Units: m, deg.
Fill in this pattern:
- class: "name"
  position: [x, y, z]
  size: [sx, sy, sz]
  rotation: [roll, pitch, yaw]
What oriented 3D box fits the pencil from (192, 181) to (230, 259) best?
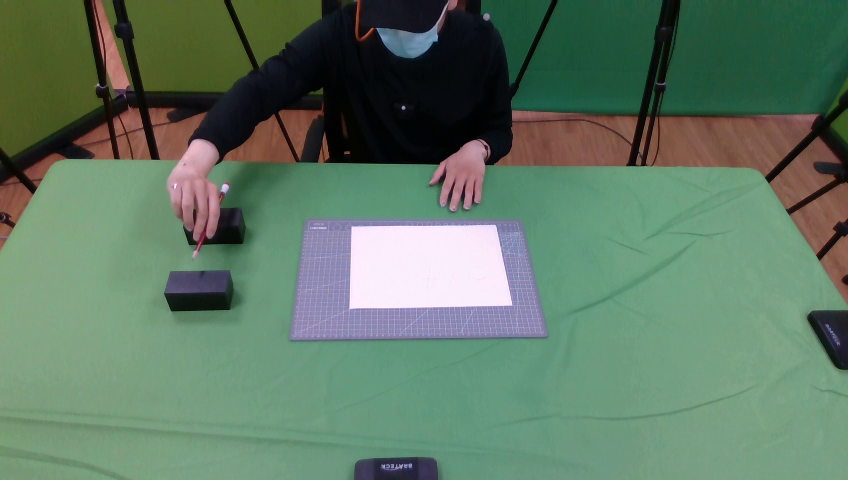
- class: "pencil"
  position: [-0.388, -0.040, 1.105]
  size: [0.012, 0.012, 0.193]
  rotation: [6, 49, 2]
